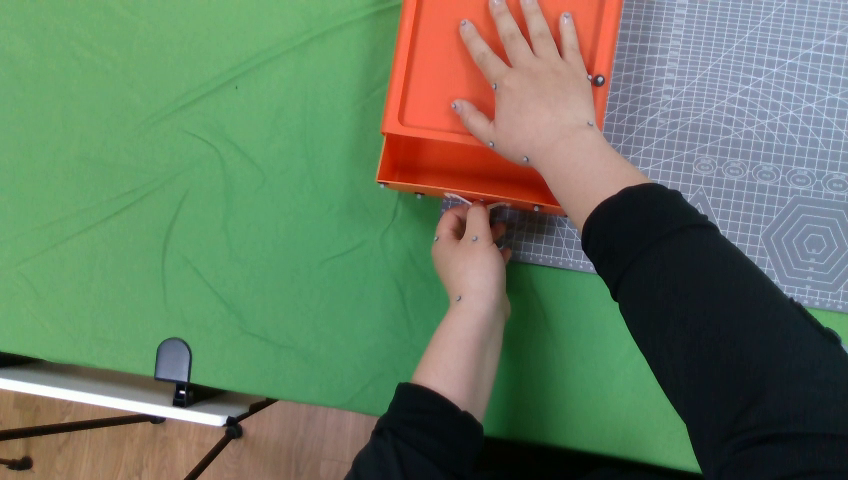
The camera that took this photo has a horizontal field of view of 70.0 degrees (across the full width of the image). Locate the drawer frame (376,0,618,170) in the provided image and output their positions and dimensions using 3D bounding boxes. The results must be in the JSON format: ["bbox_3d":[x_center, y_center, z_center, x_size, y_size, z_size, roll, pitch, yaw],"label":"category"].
[{"bbox_3d":[0.072,-0.184,0.579,0.201,0.083,0.213,8,90,9],"label":"drawer frame"}]

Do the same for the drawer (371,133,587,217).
[{"bbox_3d":[0.066,-0.137,0.578,0.194,0.073,0.211,9,89,10],"label":"drawer"}]
